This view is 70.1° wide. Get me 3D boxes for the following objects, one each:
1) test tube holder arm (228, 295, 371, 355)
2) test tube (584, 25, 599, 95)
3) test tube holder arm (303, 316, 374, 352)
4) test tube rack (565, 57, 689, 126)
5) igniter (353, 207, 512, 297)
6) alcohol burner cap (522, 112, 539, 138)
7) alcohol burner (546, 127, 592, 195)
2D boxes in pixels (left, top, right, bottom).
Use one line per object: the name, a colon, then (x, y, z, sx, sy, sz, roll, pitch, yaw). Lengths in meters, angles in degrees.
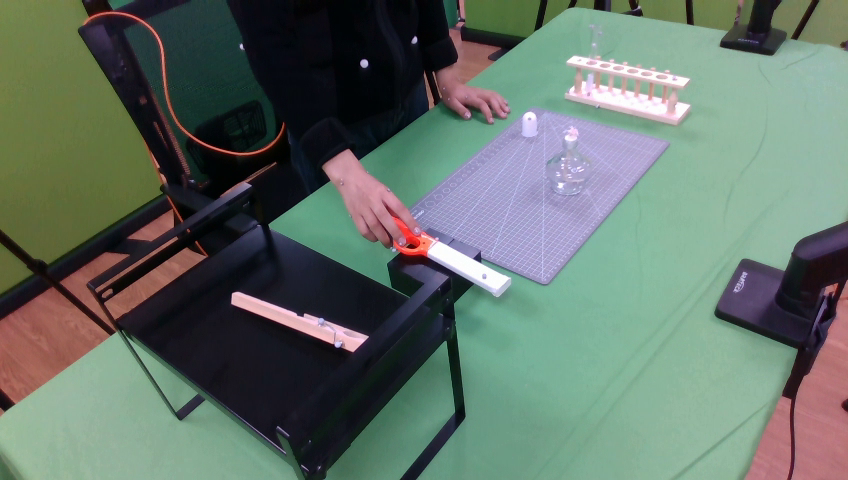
test tube holder arm: (-0.132, 0.084, 0.617, 0.177, 0.015, 0.013, 14, 6, 24)
test tube: (0.339, -0.361, 1.224, 0.017, 0.151, 0.017, -4, 45, 4)
test tube holder arm: (-0.089, 0.094, 0.604, 0.087, 0.015, 0.010, 14, 6, 25)
test tube rack: (0.412, -0.311, 1.230, 0.240, 0.085, 0.067, 23, 49, 32)
igniter: (0.005, 0.011, 0.884, 0.274, 0.025, 0.057, 27, 52, 30)
alcohol burner cap: (0.210, -0.230, 1.195, 0.034, 0.048, 0.033, -6, 41, 5)
alcohol burner: (0.247, -0.137, 1.024, 0.078, 0.119, 0.077, -4, 38, 4)
